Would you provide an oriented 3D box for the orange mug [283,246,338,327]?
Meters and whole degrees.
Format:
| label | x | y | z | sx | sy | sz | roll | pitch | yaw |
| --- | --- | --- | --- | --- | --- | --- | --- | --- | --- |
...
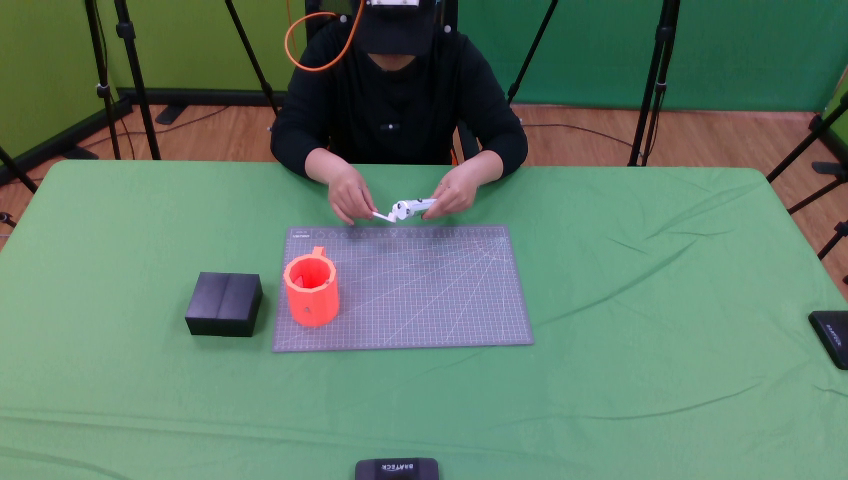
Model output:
| label | x | y | z | sx | sy | sz | roll | pitch | yaw |
| --- | --- | --- | --- | --- | --- | --- | --- | --- | --- |
| orange mug | -0.192 | 0.074 | 1.056 | 0.083 | 0.101 | 0.125 | 5 | 50 | 1 |

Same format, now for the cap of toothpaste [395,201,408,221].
| label | x | y | z | sx | sy | sz | roll | pitch | yaw |
| --- | --- | --- | --- | --- | --- | --- | --- | --- | --- |
| cap of toothpaste | -0.044 | -0.053 | 1.104 | 0.011 | 0.037 | 0.037 | 4 | 42 | 30 |

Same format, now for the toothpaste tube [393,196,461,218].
| label | x | y | z | sx | sy | sz | roll | pitch | yaw |
| --- | --- | --- | --- | --- | --- | --- | --- | --- | --- |
| toothpaste tube | 0.004 | -0.067 | 1.180 | 0.165 | 0.055 | 0.034 | -12 | 81 | -46 |

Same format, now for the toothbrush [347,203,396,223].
| label | x | y | z | sx | sy | sz | roll | pitch | yaw |
| --- | --- | --- | --- | --- | --- | --- | --- | --- | --- |
| toothbrush | -0.105 | -0.057 | 1.187 | 0.014 | 0.016 | 0.181 | 6 | 8 | -37 |
